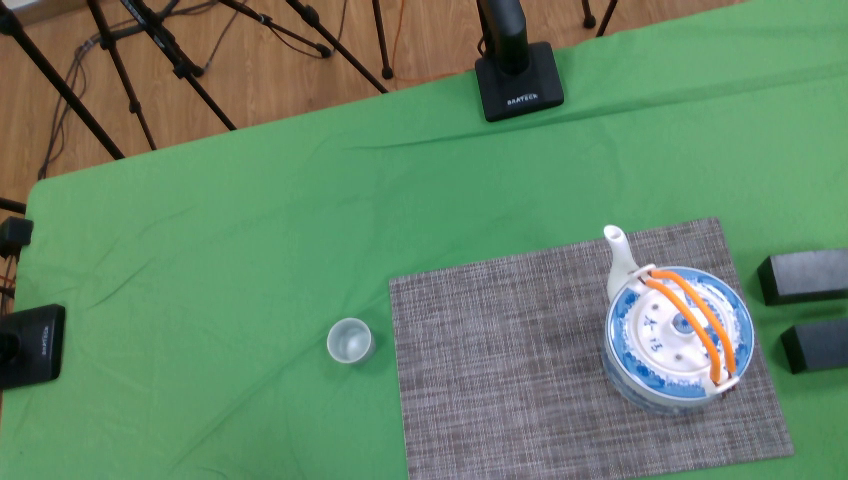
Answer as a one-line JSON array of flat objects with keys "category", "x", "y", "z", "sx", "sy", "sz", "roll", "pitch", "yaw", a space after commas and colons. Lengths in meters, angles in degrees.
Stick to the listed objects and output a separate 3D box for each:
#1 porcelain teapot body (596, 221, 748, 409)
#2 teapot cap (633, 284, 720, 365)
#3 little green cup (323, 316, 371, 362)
[{"category": "porcelain teapot body", "x": 0.249, "y": 0.076, "z": 0.661, "sx": 0.145, "sy": 0.227, "sz": 0.203, "roll": -32, "pitch": 66, "yaw": 0}, {"category": "teapot cap", "x": 0.256, "y": 0.083, "z": 0.614, "sx": 0.085, "sy": 0.044, "sz": 0.084, "roll": -4, "pitch": 67, "yaw": 9}, {"category": "little green cup", "x": -0.103, "y": 0.137, "z": 0.823, "sx": 0.061, "sy": 0.039, "sz": 0.061, "roll": -5, "pitch": 68, "yaw": 12}]
